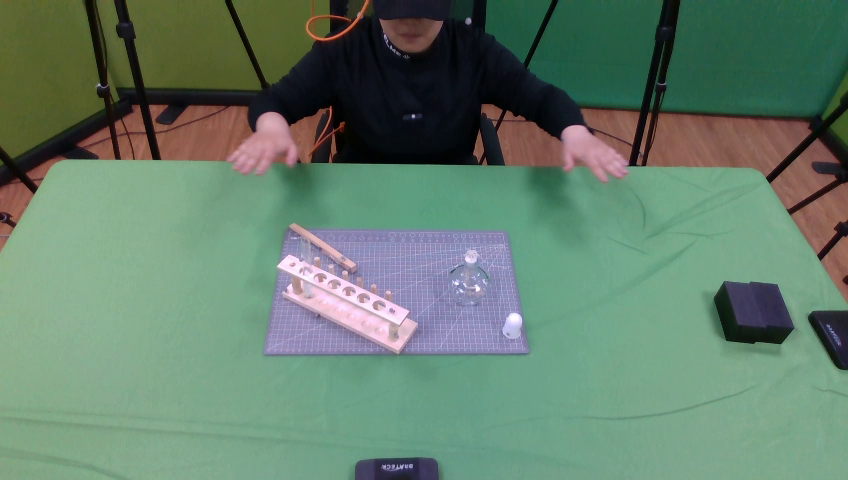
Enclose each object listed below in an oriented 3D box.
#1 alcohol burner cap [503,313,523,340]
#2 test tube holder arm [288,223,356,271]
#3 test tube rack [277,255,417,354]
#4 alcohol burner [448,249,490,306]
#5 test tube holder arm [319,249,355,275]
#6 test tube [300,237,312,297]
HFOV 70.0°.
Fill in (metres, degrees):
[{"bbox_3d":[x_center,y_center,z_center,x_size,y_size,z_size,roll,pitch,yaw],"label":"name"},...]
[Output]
[{"bbox_3d":[0.155,0.147,1.051,0.034,0.048,0.033,1,46,-1],"label":"alcohol burner cap"},{"bbox_3d":[-0.199,0.011,1.169,0.177,0.013,0.015,32,46,26],"label":"test tube holder arm"},{"bbox_3d":[-0.131,0.099,1.045,0.241,0.085,0.066,23,49,17],"label":"test tube rack"},{"bbox_3d":[0.081,0.062,1.078,0.078,0.120,0.077,1,45,-1],"label":"alcohol burner"},{"bbox_3d":[-0.166,0.038,1.154,0.087,0.010,0.015,37,49,21],"label":"test tube holder arm"},{"bbox_3d":[-0.198,0.049,1.019,0.017,0.151,0.017,4,49,-5],"label":"test tube"}]
